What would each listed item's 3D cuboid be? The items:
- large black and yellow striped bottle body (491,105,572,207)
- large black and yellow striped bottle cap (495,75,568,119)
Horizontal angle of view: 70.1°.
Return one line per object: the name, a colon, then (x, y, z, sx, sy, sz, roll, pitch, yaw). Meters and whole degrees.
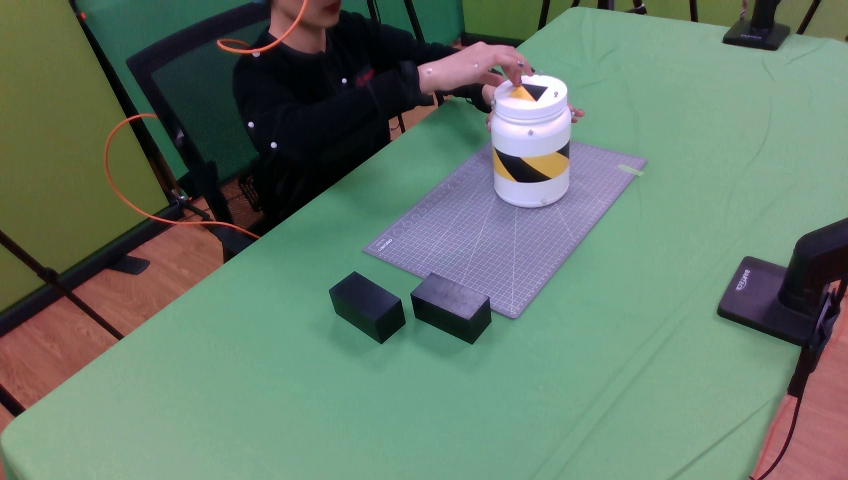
large black and yellow striped bottle body: (0.179, -0.162, 1.009, 0.131, 0.185, 0.130, -5, 40, 5)
large black and yellow striped bottle cap: (0.169, -0.227, 0.954, 0.115, 0.019, 0.114, -6, 39, 5)
